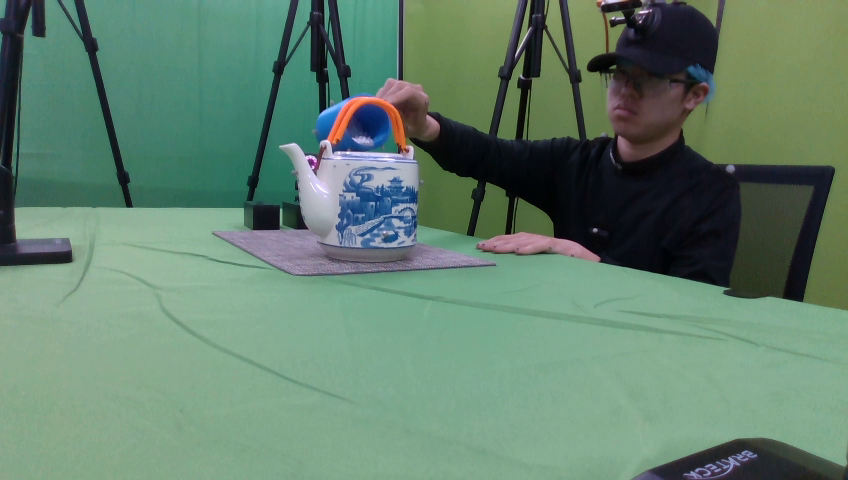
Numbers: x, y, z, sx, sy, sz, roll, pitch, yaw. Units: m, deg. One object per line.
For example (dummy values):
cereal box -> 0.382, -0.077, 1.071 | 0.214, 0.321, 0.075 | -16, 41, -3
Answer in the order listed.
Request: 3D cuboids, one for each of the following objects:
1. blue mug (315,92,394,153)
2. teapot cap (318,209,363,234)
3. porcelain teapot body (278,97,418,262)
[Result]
blue mug -> -0.099, -0.184, 0.935 | 0.117, 0.082, 0.105 | -36, 17, -26
teapot cap -> -0.158, -0.036, 1.144 | 0.085, 0.044, 0.085 | 0, 6, 0
porcelain teapot body -> -0.103, -0.086, 0.842 | 0.206, 0.225, 0.144 | -4, 9, -38
